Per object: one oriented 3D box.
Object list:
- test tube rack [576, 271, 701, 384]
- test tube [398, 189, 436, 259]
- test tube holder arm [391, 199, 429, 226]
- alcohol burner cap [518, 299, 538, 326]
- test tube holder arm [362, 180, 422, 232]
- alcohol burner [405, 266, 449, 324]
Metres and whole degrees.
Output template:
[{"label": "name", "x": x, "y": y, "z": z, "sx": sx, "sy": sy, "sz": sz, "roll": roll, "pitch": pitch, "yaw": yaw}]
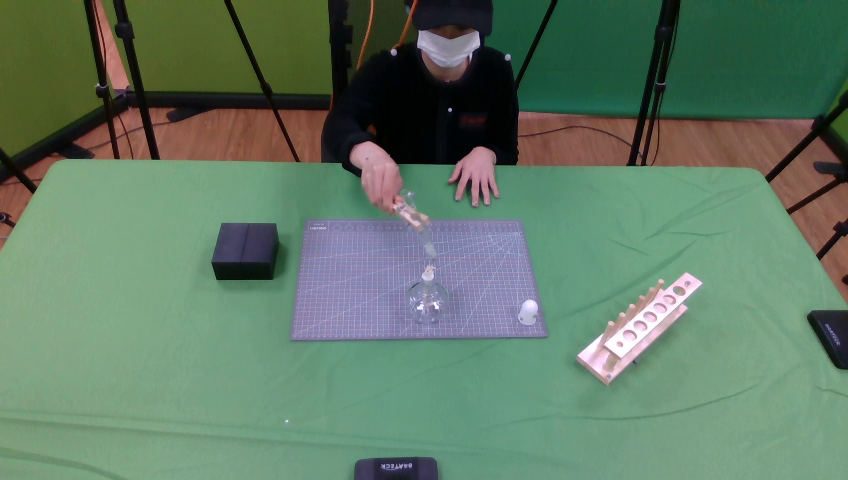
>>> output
[{"label": "test tube rack", "x": 0.373, "y": 0.138, "z": 1.047, "sx": 0.242, "sy": 0.085, "sz": 0.066, "roll": -31, "pitch": 56, "yaw": -29}, {"label": "test tube", "x": -0.009, "y": -0.021, "z": 0.939, "sx": 0.017, "sy": 0.151, "sz": 0.017, "roll": -12, "pitch": 45, "yaw": 13}, {"label": "test tube holder arm", "x": -0.025, "y": -0.043, "z": 0.947, "sx": 0.010, "sy": 0.015, "sz": 0.087, "roll": -43, "pitch": 45, "yaw": -20}, {"label": "alcohol burner cap", "x": 0.186, "y": 0.126, "z": 1.072, "sx": 0.034, "sy": 0.048, "sz": 0.033, "roll": 1, "pitch": 45, "yaw": -1}, {"label": "test tube holder arm", "x": -0.056, "y": -0.058, "z": 0.976, "sx": 0.013, "sy": 0.015, "sz": 0.177, "roll": -37, "pitch": 43, "yaw": -15}, {"label": "alcohol burner", "x": 0.005, "y": 0.089, "z": 1.043, "sx": 0.078, "sy": 0.120, "sz": 0.077, "roll": 1, "pitch": 45, "yaw": -1}]
